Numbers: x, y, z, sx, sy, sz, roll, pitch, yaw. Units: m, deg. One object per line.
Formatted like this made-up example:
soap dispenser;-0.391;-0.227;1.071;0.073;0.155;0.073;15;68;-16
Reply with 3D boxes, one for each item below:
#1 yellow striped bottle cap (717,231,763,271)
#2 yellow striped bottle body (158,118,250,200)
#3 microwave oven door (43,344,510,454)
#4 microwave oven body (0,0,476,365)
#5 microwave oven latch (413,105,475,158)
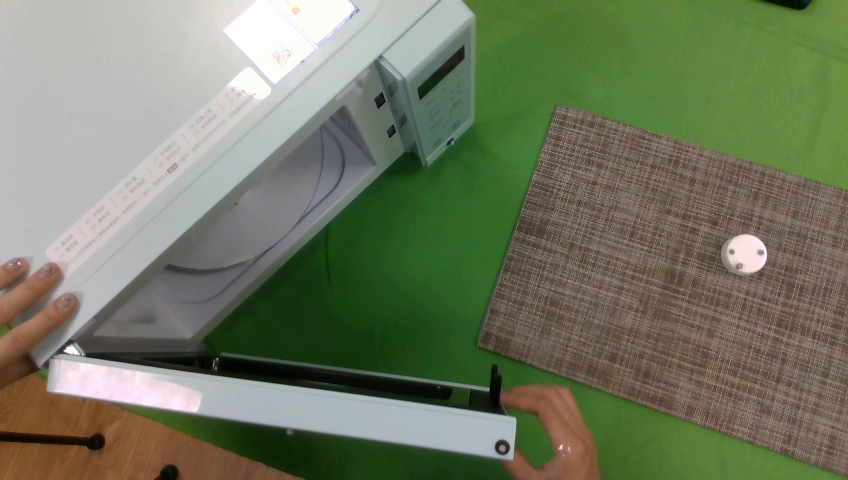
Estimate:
yellow striped bottle cap;0.351;0.012;0.673;0.044;0.019;0.044;-1;81;5
yellow striped bottle body;-0.222;-0.082;0.610;0.063;0.120;0.062;0;83;0
microwave oven door;-0.103;0.136;0.555;0.355;0.245;0.039;6;81;5
microwave oven body;-0.215;-0.131;0.610;0.441;0.261;0.325;-43;81;-3
microwave oven latch;0.023;-0.131;0.692;0.079;0.029;0.030;-42;81;-2
